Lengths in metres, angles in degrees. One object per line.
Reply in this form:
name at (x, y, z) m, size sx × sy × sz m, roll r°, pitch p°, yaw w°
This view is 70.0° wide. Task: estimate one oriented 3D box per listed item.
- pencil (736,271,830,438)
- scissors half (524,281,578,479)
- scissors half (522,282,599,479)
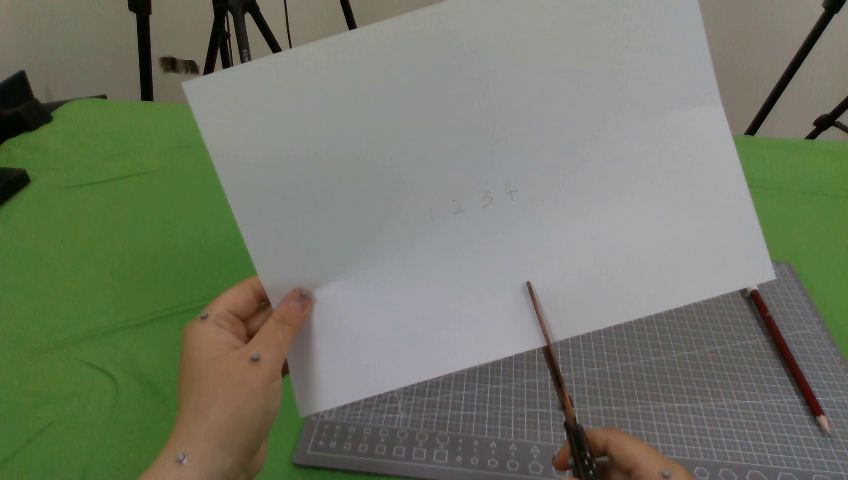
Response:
pencil at (0.315, 0.093, 0.538) m, size 0.012 × 0.012 × 0.192 m, roll 2°, pitch 38°, yaw 2°
scissors half at (0.086, 0.109, 0.369) m, size 0.013 × 0.175 × 0.040 m, roll -16°, pitch 2°, yaw -3°
scissors half at (0.084, 0.106, 0.348) m, size 0.013 × 0.040 × 0.174 m, roll -17°, pitch 73°, yaw 2°
